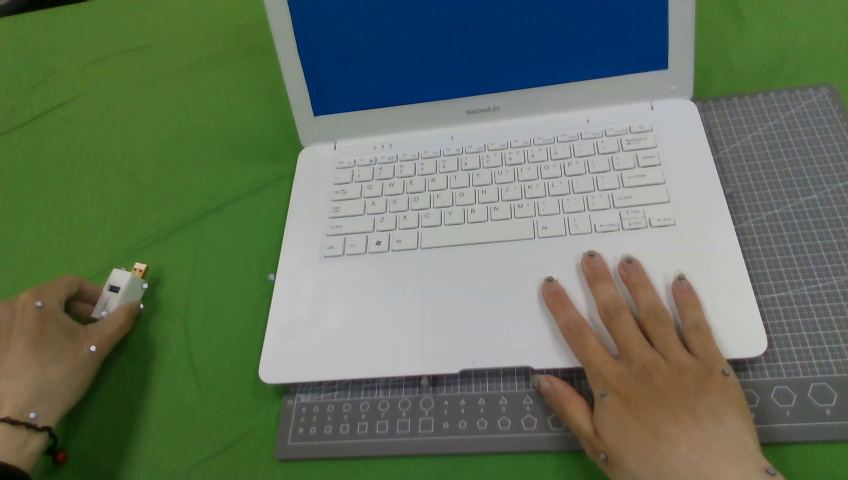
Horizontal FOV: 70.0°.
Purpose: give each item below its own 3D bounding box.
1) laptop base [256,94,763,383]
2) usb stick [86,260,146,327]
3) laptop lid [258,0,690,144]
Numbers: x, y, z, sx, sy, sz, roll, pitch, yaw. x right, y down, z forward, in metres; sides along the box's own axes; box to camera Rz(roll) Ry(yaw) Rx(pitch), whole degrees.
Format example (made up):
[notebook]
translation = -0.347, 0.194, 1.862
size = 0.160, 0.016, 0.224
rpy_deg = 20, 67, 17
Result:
[laptop base]
translation = 0.050, -0.006, 0.483
size = 0.354, 0.023, 0.233
rpy_deg = -5, 59, 10
[usb stick]
translation = -0.257, 0.041, 0.513
size = 0.021, 0.027, 0.059
rpy_deg = 12, 64, 15
[laptop lid]
translation = 0.034, -0.206, 0.496
size = 0.356, 0.243, 0.013
rpy_deg = -7, 26, 10
